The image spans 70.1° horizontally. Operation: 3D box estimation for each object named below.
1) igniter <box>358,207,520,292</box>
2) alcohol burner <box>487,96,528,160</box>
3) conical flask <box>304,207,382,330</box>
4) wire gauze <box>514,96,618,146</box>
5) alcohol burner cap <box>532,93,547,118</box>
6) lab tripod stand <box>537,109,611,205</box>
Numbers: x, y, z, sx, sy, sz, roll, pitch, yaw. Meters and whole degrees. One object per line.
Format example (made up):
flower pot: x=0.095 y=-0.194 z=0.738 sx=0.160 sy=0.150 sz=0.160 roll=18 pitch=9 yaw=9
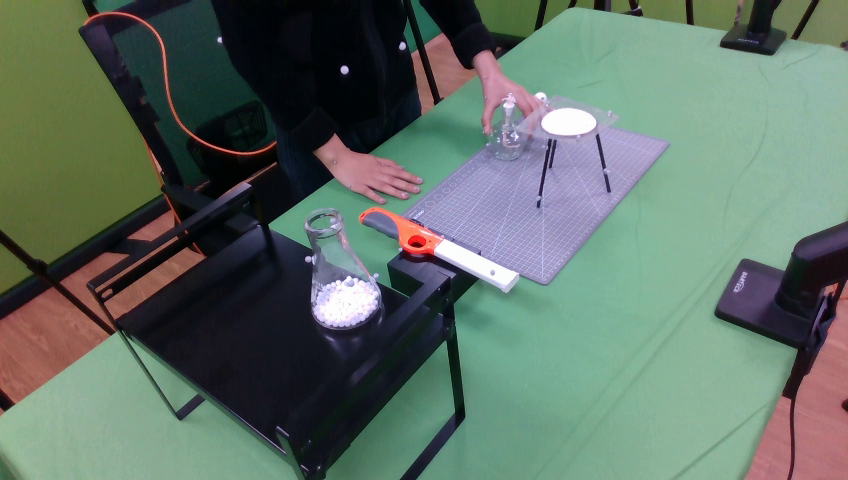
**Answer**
igniter: x=0.014 y=0.008 z=0.886 sx=0.274 sy=0.025 sz=0.057 roll=25 pitch=52 yaw=29
alcohol burner: x=0.155 y=-0.210 z=1.123 sx=0.078 sy=0.119 sz=0.077 roll=-4 pitch=37 yaw=3
conical flask: x=-0.088 y=0.025 z=0.601 sx=0.075 sy=0.122 sz=0.075 roll=-5 pitch=40 yaw=5
wire gauze: x=0.229 y=-0.190 z=0.969 sx=0.120 sy=0.011 sz=0.125 roll=26 pitch=50 yaw=33
alcohol burner cap: x=0.240 y=-0.281 z=1.251 sx=0.034 sy=0.048 sz=0.033 roll=-4 pitch=42 yaw=4
lab tripod stand: x=0.244 y=-0.141 z=1.014 sx=0.148 sy=0.132 sz=0.147 roll=-3 pitch=39 yaw=3
